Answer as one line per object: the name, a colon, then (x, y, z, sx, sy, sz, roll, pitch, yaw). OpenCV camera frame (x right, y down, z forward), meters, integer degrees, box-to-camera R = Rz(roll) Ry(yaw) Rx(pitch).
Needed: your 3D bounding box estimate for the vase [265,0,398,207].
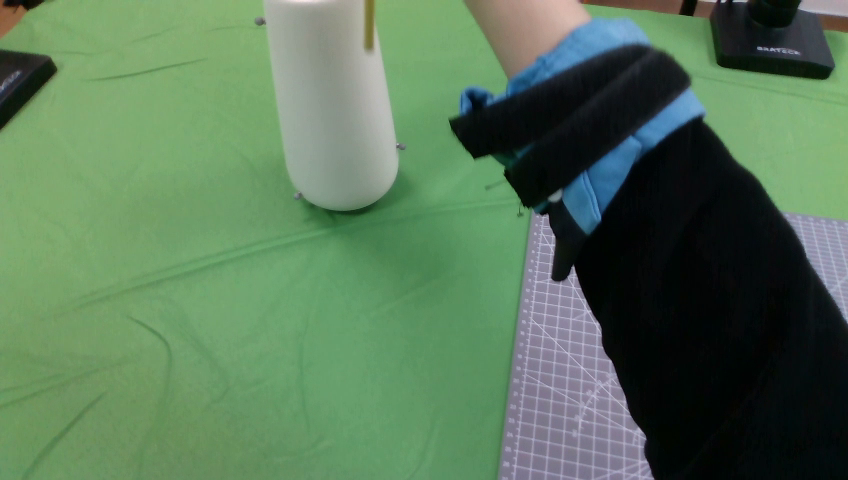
vase: (-0.071, -0.119, 0.483, 0.098, 0.202, 0.097, 1, 51, -1)

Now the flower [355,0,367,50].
flower: (-0.022, -0.234, 0.226, 0.044, 0.364, 0.038, 3, 49, -5)
